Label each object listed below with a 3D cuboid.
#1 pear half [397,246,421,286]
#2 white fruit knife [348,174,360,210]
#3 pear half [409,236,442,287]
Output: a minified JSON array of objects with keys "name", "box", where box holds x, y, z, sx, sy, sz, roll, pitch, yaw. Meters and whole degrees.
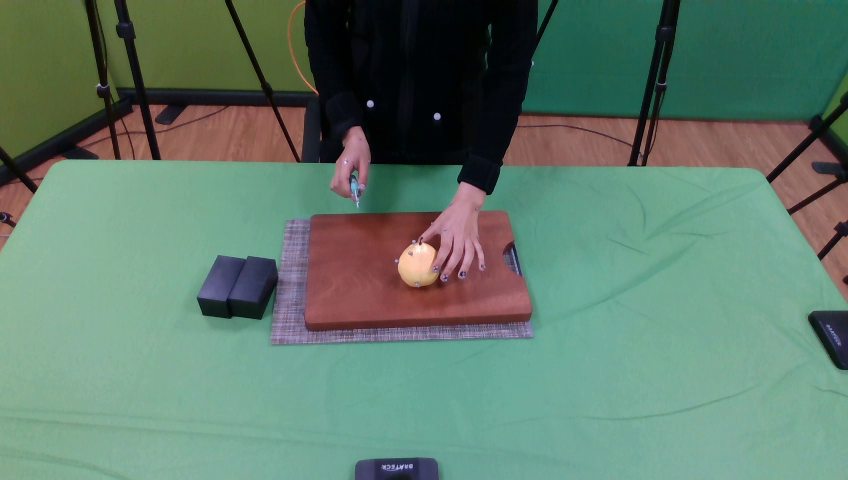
[{"name":"pear half","box":[-0.029,0.046,1.066,0.031,0.088,0.070,-18,55,-20]},{"name":"white fruit knife","box":[-0.129,-0.091,1.132,0.016,0.027,0.206,-11,22,-6]},{"name":"pear half","box":[0.004,0.029,1.070,0.056,0.110,0.076,-17,54,-20]}]
